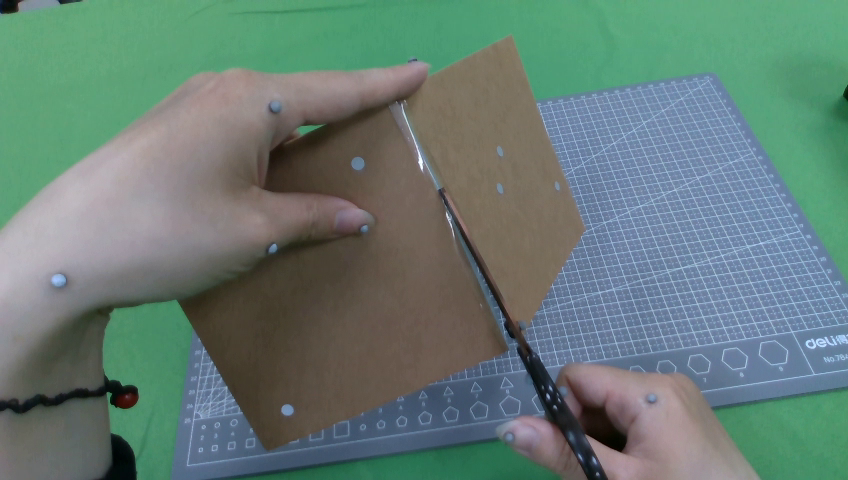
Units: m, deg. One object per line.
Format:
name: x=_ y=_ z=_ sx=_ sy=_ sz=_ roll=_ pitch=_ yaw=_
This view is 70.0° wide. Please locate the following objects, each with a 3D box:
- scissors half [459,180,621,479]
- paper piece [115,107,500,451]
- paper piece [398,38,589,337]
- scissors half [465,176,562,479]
scissors half: x=0.052 y=0.052 z=0.277 sx=0.013 sy=0.040 sz=0.174 roll=-21 pitch=83 yaw=-22
paper piece: x=-0.051 y=0.025 z=0.291 sx=0.138 sy=0.137 sz=0.008 roll=-23 pitch=15 yaw=2
paper piece: x=0.050 y=-0.036 z=0.334 sx=0.004 sy=0.136 sz=0.135 roll=-18 pitch=16 yaw=37
scissors half: x=0.045 y=0.053 z=0.297 sx=0.013 sy=0.176 sz=0.040 roll=-20 pitch=13 yaw=-17
